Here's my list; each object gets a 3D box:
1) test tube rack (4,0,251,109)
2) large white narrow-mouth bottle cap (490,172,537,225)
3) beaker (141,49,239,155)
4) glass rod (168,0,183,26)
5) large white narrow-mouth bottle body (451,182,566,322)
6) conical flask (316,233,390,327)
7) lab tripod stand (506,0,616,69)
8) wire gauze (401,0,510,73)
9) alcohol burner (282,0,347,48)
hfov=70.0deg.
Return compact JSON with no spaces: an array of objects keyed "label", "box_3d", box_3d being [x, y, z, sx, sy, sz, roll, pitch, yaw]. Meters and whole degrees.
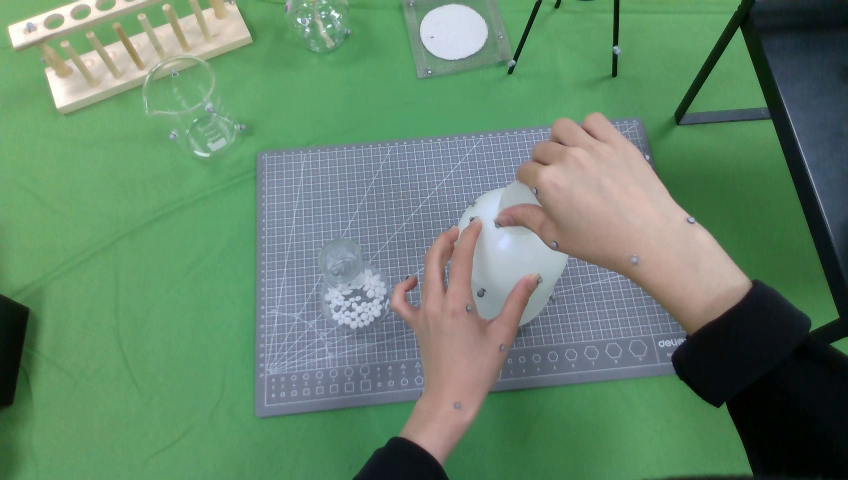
[{"label":"test tube rack","box_3d":[-0.340,-0.248,0.714,0.242,0.086,0.066,-24,70,-9]},{"label":"large white narrow-mouth bottle cap","box_3d":[0.069,-0.031,0.465,0.038,0.024,0.037,-1,68,3]},{"label":"beaker","box_3d":[-0.254,-0.144,0.665,0.073,0.101,0.084,39,74,16]},{"label":"glass rod","box_3d":[-0.297,-0.310,0.668,0.008,0.201,0.008,2,66,-3]},{"label":"large white narrow-mouth bottle body","box_3d":[0.075,0.004,0.550,0.102,0.196,0.101,-1,68,3]},{"label":"conical flask","box_3d":[-0.074,0.033,0.577,0.075,0.123,0.075,0,67,1]},{"label":"lab tripod stand","box_3d":[0.168,-0.268,0.693,0.148,0.132,0.147,1,67,-1]},{"label":"wire gauze","box_3d":[0.038,-0.272,0.763,0.121,0.011,0.124,-10,68,-5]},{"label":"alcohol burner","box_3d":[-0.131,-0.287,0.714,0.078,0.120,0.077,0,66,0]}]
